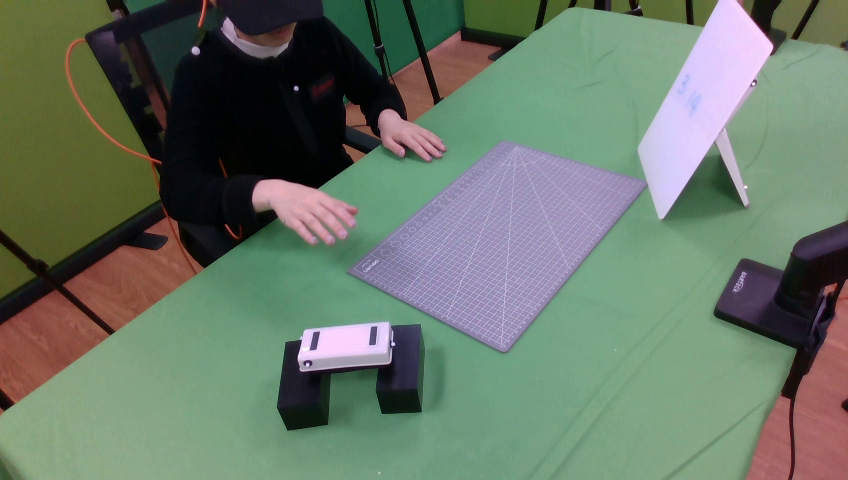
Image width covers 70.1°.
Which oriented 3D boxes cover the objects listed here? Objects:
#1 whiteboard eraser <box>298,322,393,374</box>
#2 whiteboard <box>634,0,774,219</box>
[{"bbox_3d":[-0.094,0.134,0.740,0.113,0.042,0.055,-5,41,3],"label":"whiteboard eraser"},{"bbox_3d":[0.485,-0.192,0.957,0.144,0.305,0.216,14,41,-4],"label":"whiteboard"}]
